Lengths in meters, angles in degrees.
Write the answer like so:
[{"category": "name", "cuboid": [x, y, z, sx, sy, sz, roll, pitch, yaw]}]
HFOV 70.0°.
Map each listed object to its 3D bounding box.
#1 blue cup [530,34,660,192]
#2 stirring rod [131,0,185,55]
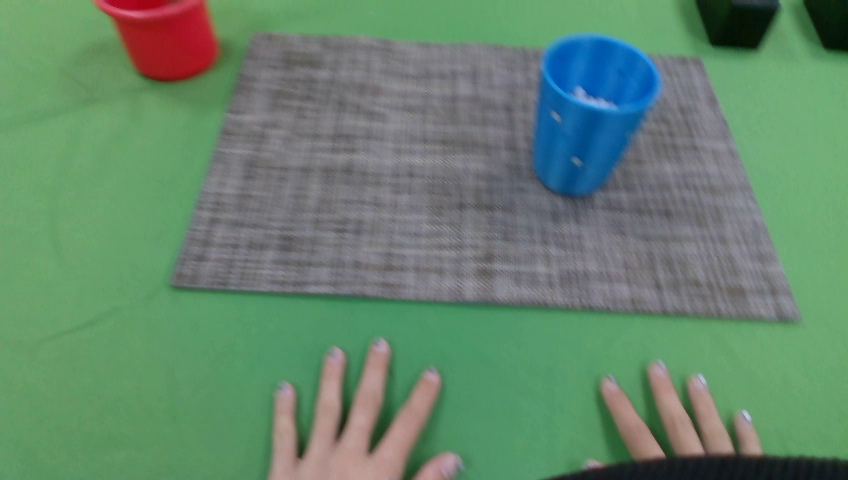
[{"category": "blue cup", "cuboid": [0.123, -0.092, 0.472, 0.093, 0.101, 0.091, 2, 53, -3]}, {"category": "stirring rod", "cuboid": [-0.208, -0.225, 0.538, 0.176, 0.006, 0.014, -36, 59, 21]}]
